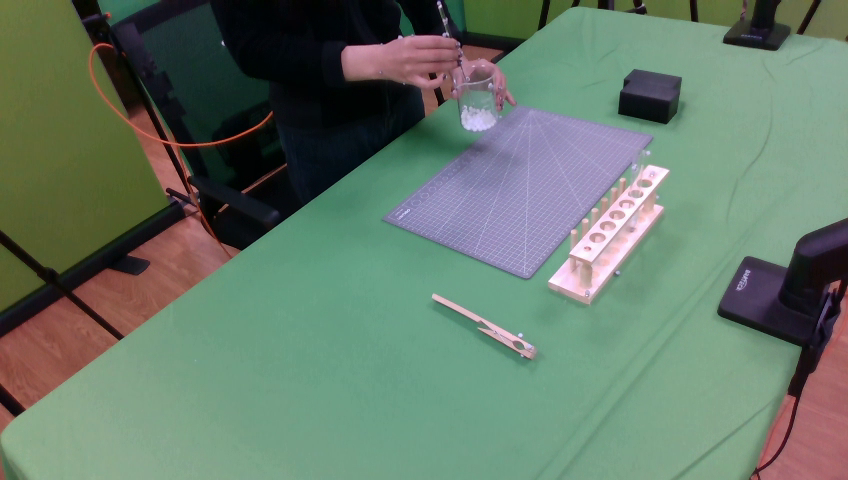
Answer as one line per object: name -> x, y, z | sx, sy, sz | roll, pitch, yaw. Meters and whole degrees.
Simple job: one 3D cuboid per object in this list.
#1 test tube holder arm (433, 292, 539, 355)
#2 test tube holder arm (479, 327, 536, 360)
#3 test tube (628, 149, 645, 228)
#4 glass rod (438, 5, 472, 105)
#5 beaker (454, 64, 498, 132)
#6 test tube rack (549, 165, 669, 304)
test tube holder arm -> 0.081, 0.113, 0.832 | 0.177, 0.015, 0.013 | 28, 82, 36
test tube holder arm -> 0.110, 0.134, 0.805 | 0.087, 0.015, 0.010 | 29, 83, 36
test tube -> 0.309, -0.071, 0.882 | 0.017, 0.151, 0.017 | -7, 47, 8
glass rod -> 0.054, -0.303, 1.010 | 0.008, 0.201, 0.008 | -11, 50, 14
beaker -> 0.093, -0.250, 1.079 | 0.084, 0.101, 0.073 | -32, 43, -24
test tube rack -> 0.279, -0.018, 0.902 | 0.066, 0.085, 0.243 | 24, 50, 33
